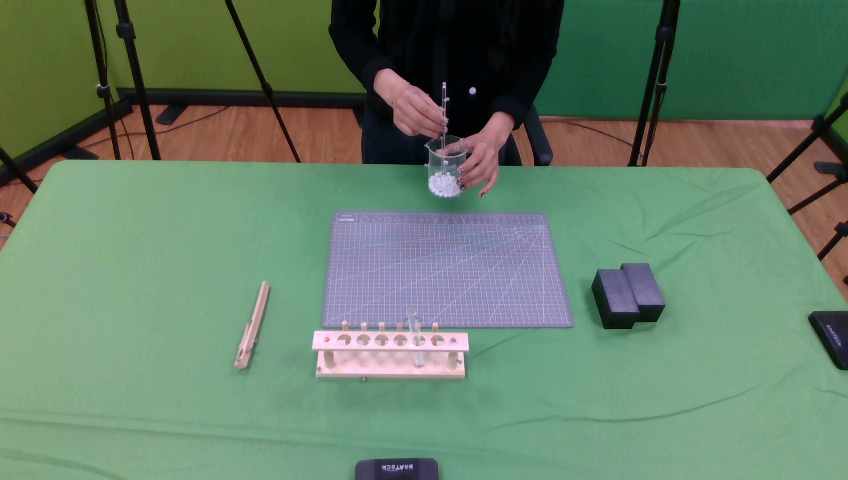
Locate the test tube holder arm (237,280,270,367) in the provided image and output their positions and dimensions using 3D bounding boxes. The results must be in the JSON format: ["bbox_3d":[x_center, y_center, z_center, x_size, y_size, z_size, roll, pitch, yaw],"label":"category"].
[{"bbox_3d":[-0.291,0.140,1.042,0.013,0.015,0.177,-17,41,22],"label":"test tube holder arm"}]

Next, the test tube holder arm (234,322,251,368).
[{"bbox_3d":[-0.299,0.173,1.013,0.010,0.015,0.087,-17,41,22],"label":"test tube holder arm"}]

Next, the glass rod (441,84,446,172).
[{"bbox_3d":[0.036,-0.199,1.109,0.008,0.201,0.008,0,49,1],"label":"glass rod"}]

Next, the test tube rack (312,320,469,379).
[{"bbox_3d":[-0.054,0.173,0.984,0.242,0.085,0.066,1,46,-3],"label":"test tube rack"}]

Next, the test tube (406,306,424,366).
[{"bbox_3d":[-0.013,0.152,0.939,0.017,0.151,0.017,-3,48,3],"label":"test tube"}]

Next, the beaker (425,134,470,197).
[{"bbox_3d":[0.040,-0.138,1.142,0.084,0.101,0.073,12,42,11],"label":"beaker"}]
